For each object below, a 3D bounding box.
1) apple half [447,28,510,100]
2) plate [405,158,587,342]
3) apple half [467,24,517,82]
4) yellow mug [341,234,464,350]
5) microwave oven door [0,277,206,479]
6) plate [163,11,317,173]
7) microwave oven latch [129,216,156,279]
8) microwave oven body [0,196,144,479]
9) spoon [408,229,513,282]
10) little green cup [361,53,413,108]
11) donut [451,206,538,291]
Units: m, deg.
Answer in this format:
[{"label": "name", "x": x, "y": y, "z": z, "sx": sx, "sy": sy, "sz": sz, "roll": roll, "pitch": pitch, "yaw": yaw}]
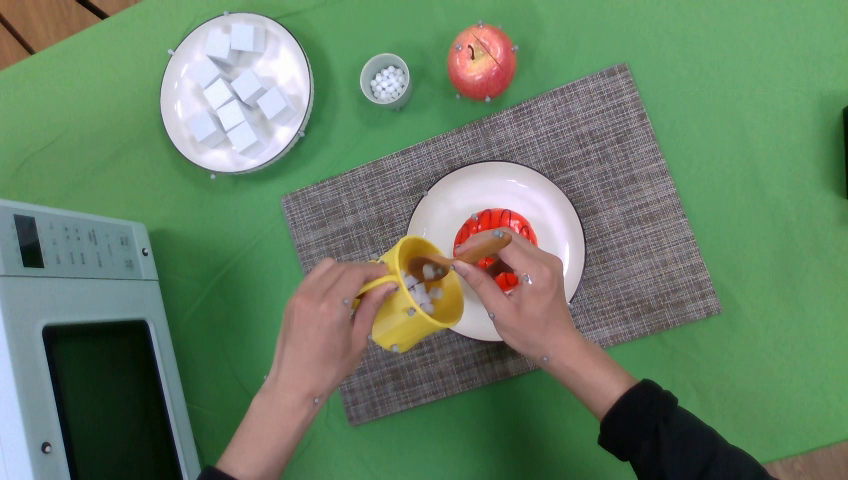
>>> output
[{"label": "apple half", "x": 0.057, "y": -0.195, "z": 0.702, "sx": 0.053, "sy": 0.075, "sz": 0.080, "roll": -40, "pitch": 83, "yaw": 11}, {"label": "plate", "x": 0.080, "y": 0.011, "z": 0.698, "sx": 0.208, "sy": 0.038, "sz": 0.208, "roll": -1, "pitch": 86, "yaw": 12}, {"label": "apple half", "x": 0.085, "y": -0.220, "z": 0.696, "sx": 0.033, "sy": 0.081, "sz": 0.081, "roll": -41, "pitch": 79, "yaw": 10}, {"label": "yellow mug", "x": -0.025, "y": 0.051, "z": 0.587, "sx": 0.064, "sy": 0.132, "sz": 0.099, "roll": -32, "pitch": 68, "yaw": 30}, {"label": "microwave oven door", "x": -0.334, "y": 0.214, "z": 0.652, "sx": 0.039, "sy": 0.245, "sz": 0.354, "roll": -17, "pitch": 83, "yaw": 10}, {"label": "plate", "x": -0.233, "y": -0.187, "z": 0.779, "sx": 0.207, "sy": 0.039, "sz": 0.207, "roll": -1, "pitch": 86, "yaw": 12}, {"label": "microwave oven latch", "x": -0.368, "y": 0.011, "z": 0.775, "sx": 0.030, "sy": 0.029, "sz": 0.079, "roll": -15, "pitch": 84, "yaw": 10}, {"label": "microwave oven body", "x": -0.481, "y": 0.215, "z": 0.687, "sx": 0.326, "sy": 0.261, "sz": 0.440, "roll": -17, "pitch": 84, "yaw": 10}, {"label": "spoon", "x": 0.030, "y": 0.017, "z": 0.549, "sx": 0.042, "sy": 0.193, "sz": 0.021, "roll": 31, "pitch": 72, "yaw": -14}, {"label": "little green cup", "x": -0.043, "y": -0.192, "z": 0.740, "sx": 0.061, "sy": 0.039, "sz": 0.061, "roll": -1, "pitch": 86, "yaw": 12}, {"label": "donut", "x": 0.080, "y": 0.009, "z": 0.686, "sx": 0.099, "sy": 0.048, "sz": 0.099, "roll": 0, "pitch": 88, "yaw": 13}]
